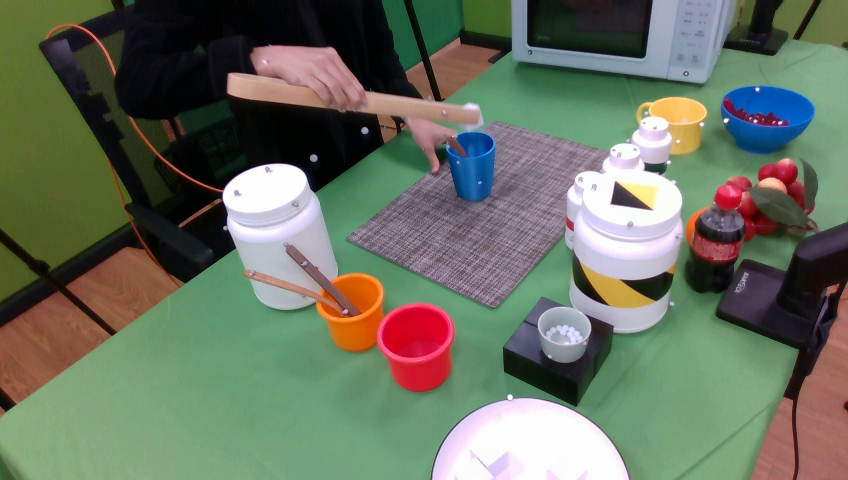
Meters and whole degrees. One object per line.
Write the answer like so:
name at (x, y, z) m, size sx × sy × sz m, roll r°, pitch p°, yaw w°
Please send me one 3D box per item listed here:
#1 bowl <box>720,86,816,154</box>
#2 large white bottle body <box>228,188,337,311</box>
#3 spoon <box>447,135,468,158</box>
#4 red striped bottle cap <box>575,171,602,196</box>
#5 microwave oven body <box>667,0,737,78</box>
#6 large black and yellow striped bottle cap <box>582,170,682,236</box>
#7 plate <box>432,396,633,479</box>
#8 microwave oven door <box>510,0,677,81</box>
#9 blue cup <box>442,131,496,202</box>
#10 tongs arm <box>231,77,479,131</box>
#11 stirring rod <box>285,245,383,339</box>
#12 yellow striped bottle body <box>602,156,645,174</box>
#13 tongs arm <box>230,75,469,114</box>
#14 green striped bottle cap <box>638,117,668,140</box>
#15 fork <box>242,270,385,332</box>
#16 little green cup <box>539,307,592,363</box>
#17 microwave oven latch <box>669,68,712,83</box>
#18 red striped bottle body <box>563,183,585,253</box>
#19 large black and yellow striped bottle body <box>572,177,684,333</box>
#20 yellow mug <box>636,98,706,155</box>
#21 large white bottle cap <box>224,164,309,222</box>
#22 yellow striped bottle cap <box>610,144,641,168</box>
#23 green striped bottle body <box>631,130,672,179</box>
bowl at (0.605, -0.206, 1.081) m, size 0.151 × 0.077 × 0.150 m, roll -5°, pitch 40°, yaw 5°
large white bottle body at (-0.207, -0.002, 0.883) m, size 0.130 × 0.185 × 0.130 m, roll -4°, pitch 40°, yaw 4°
spoon at (0.067, -0.132, 0.994) m, size 0.041 × 0.195 × 0.021 m, roll 6°, pitch 74°, yaw 21°
red striped bottle cap at (0.242, -0.081, 0.876) m, size 0.044 × 0.018 × 0.044 m, roll -5°, pitch 44°, yaw 5°
microwave oven body at (0.462, -0.552, 1.369) m, size 0.439 × 0.261 × 0.326 m, roll 15°, pitch 46°, yaw 26°
large black and yellow striped bottle cap at (0.252, -0.048, 0.735) m, size 0.115 × 0.019 × 0.114 m, roll -3°, pitch 40°, yaw 3°
plate at (0.112, 0.261, 0.634) m, size 0.209 × 0.038 × 0.208 m, roll -5°, pitch 40°, yaw 4°
microwave oven door at (0.354, -0.478, 1.291) m, size 0.353 × 0.245 × 0.039 m, roll 15°, pitch 45°, yaw 25°
blue cup at (0.083, -0.122, 1.041) m, size 0.092 × 0.100 × 0.092 m, roll -4°, pitch 41°, yaw 4°
tongs arm at (-0.082, -0.196, 0.893) m, size 0.391 × 0.028 × 0.028 m, roll 2°, pitch 25°, yaw -30°
stirring rod at (-0.121, 0.071, 0.819) m, size 0.176 × 0.006 × 0.014 m, roll 44°, pitch 52°, yaw -6°
yellow striped bottle body at (0.313, -0.089, 0.956) m, size 0.063 × 0.121 × 0.062 m, roll -4°, pitch 39°, yaw 4°
tongs arm at (-0.092, -0.204, 0.911) m, size 0.388 × 0.026 × 0.050 m, roll 3°, pitch 20°, yaw -25°
green striped bottle cap at (0.369, -0.180, 0.974) m, size 0.044 × 0.020 × 0.044 m, roll -4°, pitch 41°, yaw 4°
fork at (-0.142, 0.082, 0.802) m, size 0.209 × 0.018 × 0.028 m, roll 28°, pitch 38°, yaw -26°
little green cup at (0.168, 0.115, 0.721) m, size 0.061 × 0.039 × 0.061 m, roll -4°, pitch 42°, yaw 4°
microwave oven latch at (0.556, -0.348, 1.262) m, size 0.078 × 0.029 × 0.030 m, roll 15°, pitch 46°, yaw 26°
red striped bottle body at (0.246, -0.041, 0.910) m, size 0.063 × 0.120 × 0.062 m, roll -2°, pitch 38°, yaw 2°
large black and yellow striped bottle body at (0.262, 0.017, 0.788) m, size 0.131 × 0.185 × 0.130 m, roll -5°, pitch 40°, yaw 4°
yellow mug at (0.453, -0.218, 1.128) m, size 0.100 × 0.064 × 0.129 m, roll -34°, pitch 46°, yaw -27°
large white bottle cap at (-0.216, -0.066, 0.829) m, size 0.115 × 0.018 × 0.114 m, roll -4°, pitch 40°, yaw 4°
yellow striped bottle cap at (0.307, -0.128, 0.923) m, size 0.044 × 0.019 × 0.044 m, roll -6°, pitch 39°, yaw 5°
green striped bottle body at (0.375, -0.140, 1.007) m, size 0.063 × 0.120 × 0.063 m, roll -5°, pitch 40°, yaw 4°
